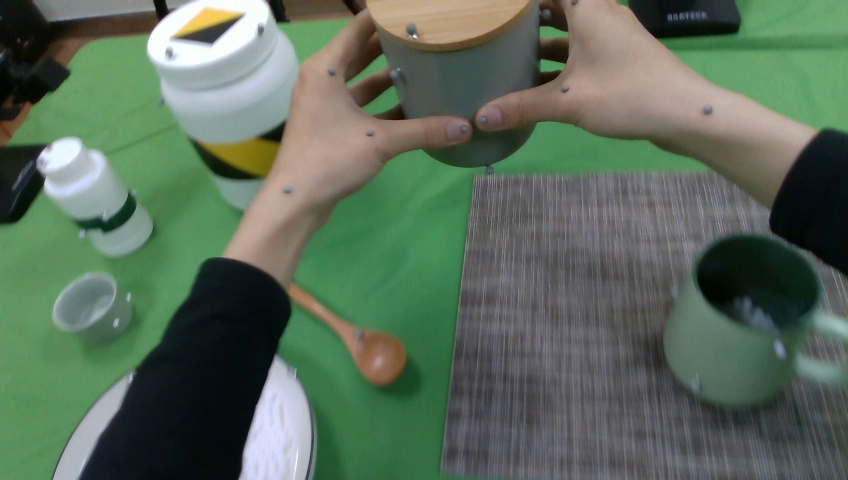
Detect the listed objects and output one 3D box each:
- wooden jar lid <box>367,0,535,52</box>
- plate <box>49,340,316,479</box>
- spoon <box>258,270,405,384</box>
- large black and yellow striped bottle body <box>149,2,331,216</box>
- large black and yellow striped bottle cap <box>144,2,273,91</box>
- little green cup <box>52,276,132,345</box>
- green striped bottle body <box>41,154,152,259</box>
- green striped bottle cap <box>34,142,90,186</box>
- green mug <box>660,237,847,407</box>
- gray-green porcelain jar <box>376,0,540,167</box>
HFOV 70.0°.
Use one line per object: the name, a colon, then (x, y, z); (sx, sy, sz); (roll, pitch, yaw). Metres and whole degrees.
wooden jar lid: (0.019, -0.155, 0.384); (0.108, 0.021, 0.107); (-5, 61, 10)
plate: (-0.181, 0.176, 0.469); (0.209, 0.038, 0.207); (-5, 51, 7)
spoon: (-0.090, 0.069, 0.545); (0.192, 0.022, 0.041); (30, 77, 29)
large black and yellow striped bottle body: (-0.180, -0.127, 0.612); (0.130, 0.186, 0.129); (-5, 52, 7)
large black and yellow striped bottle cap: (-0.194, -0.177, 0.547); (0.115, 0.019, 0.114); (-5, 50, 7)
little green cup: (-0.314, 0.069, 0.578); (0.061, 0.039, 0.061); (-5, 51, 7)
green striped bottle body: (-0.335, -0.039, 0.615); (0.063, 0.120, 0.062); (-6, 51, 8)
green striped bottle cap: (-0.344, -0.071, 0.575); (0.044, 0.020, 0.044); (-4, 53, 5)
green mug: (0.237, 0.065, 0.427); (0.124, 0.106, 0.092); (20, 58, 24)
gray-green porcelain jar: (0.030, -0.123, 0.435); (0.106, 0.128, 0.105); (-6, 58, 9)
